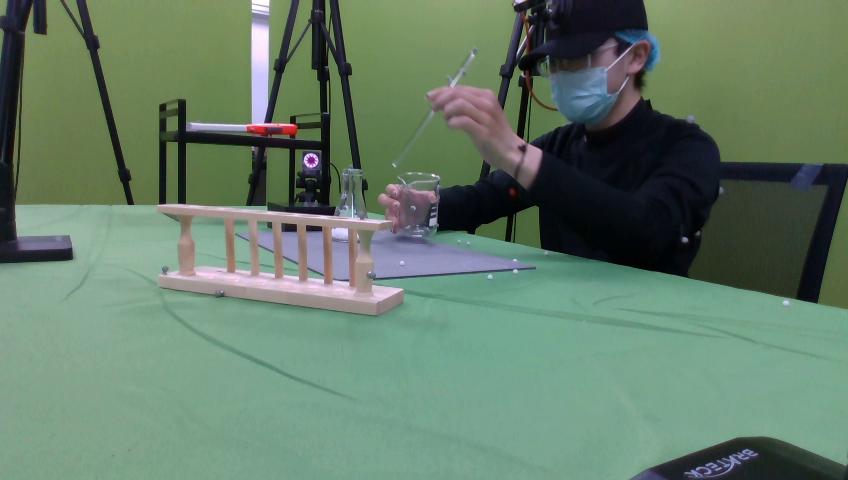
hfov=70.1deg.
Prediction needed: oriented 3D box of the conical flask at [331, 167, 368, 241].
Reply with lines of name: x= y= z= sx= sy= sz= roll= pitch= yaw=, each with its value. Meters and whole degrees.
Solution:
conical flask: x=-0.123 y=-0.061 z=1.019 sx=0.075 sy=0.122 sz=0.075 roll=2 pitch=7 yaw=0

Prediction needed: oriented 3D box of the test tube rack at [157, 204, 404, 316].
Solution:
test tube rack: x=-0.143 y=0.013 z=0.599 sx=0.242 sy=0.085 sz=0.067 roll=5 pitch=8 yaw=19

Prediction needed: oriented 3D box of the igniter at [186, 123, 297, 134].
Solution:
igniter: x=-0.393 y=-0.248 z=1.341 sx=0.057 sy=0.025 sz=0.278 roll=9 pitch=14 yaw=38

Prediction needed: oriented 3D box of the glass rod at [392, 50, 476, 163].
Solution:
glass rod: x=0.012 y=-0.189 z=0.872 sx=0.008 sy=0.199 sz=0.008 roll=34 pitch=19 yaw=-13

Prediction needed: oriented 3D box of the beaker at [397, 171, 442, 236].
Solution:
beaker: x=-0.011 y=-0.061 z=1.022 sx=0.074 sy=0.100 sz=0.084 roll=10 pitch=19 yaw=23
